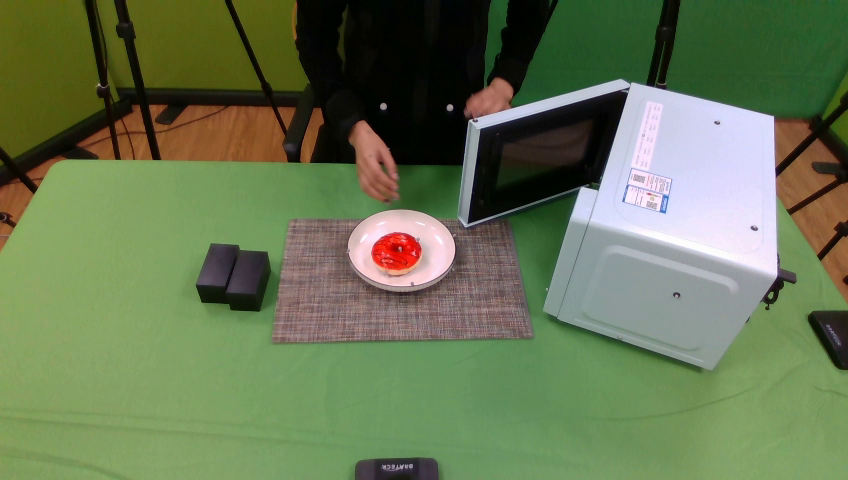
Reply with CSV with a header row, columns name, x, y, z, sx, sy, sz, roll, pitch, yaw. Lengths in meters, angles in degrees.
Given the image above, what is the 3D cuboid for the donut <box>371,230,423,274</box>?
name,x,y,z,sx,sy,sz,roll,pitch,yaw
donut,-0.051,0.022,1.142,0.099,0.048,0.098,0,45,0

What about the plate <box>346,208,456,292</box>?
name,x,y,z,sx,sy,sz,roll,pitch,yaw
plate,-0.044,0.021,1.159,0.209,0.038,0.208,2,47,-2

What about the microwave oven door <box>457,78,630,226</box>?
name,x,y,z,sx,sy,sz,roll,pitch,yaw
microwave oven door,0.237,-0.176,1.207,0.356,0.245,0.039,-19,50,-21

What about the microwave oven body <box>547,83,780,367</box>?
name,x,y,z,sx,sy,sz,roll,pitch,yaw
microwave oven body,0.445,-0.041,1.101,0.325,0.261,0.440,17,47,13

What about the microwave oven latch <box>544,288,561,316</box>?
name,x,y,z,sx,sy,sz,roll,pitch,yaw
microwave oven latch,0.237,0.098,1.087,0.030,0.029,0.079,17,47,13
